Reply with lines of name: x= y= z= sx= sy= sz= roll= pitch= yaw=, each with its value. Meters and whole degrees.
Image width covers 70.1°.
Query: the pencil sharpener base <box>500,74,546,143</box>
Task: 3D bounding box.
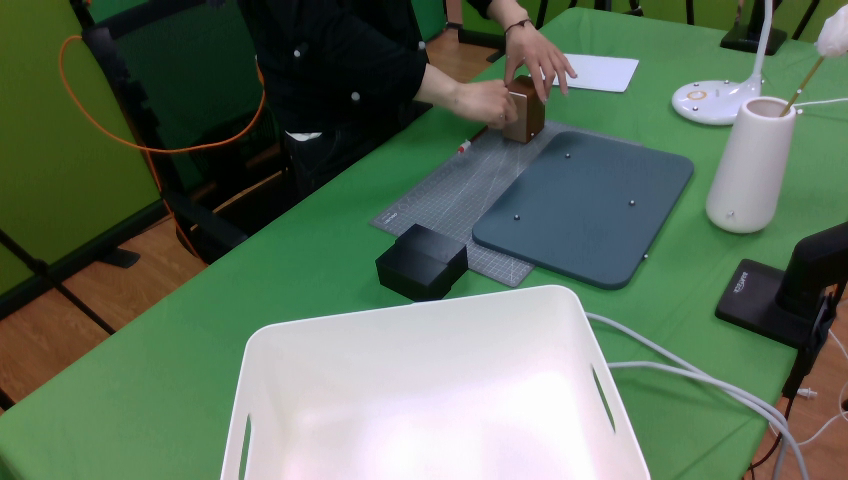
pencil sharpener base: x=0.194 y=-0.256 z=1.174 sx=0.061 sy=0.107 sz=0.077 roll=22 pitch=49 yaw=31

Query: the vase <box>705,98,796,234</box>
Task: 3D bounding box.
vase: x=0.480 y=-0.104 z=0.889 sx=0.098 sy=0.201 sz=0.097 roll=-4 pitch=42 yaw=4

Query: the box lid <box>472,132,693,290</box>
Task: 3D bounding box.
box lid: x=0.273 y=-0.068 z=1.020 sx=0.261 sy=0.015 sz=0.372 roll=20 pitch=47 yaw=28

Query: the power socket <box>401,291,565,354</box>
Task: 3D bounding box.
power socket: x=0.080 y=0.111 z=0.823 sx=0.227 sy=0.033 sz=0.072 roll=-5 pitch=41 yaw=1

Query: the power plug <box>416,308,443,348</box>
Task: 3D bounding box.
power plug: x=0.005 y=0.121 z=0.787 sx=0.035 sy=0.053 sz=0.072 roll=2 pitch=46 yaw=8

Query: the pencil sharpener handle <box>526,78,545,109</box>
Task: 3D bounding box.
pencil sharpener handle: x=0.225 y=-0.294 z=1.193 sx=0.035 sy=0.068 sz=0.031 roll=18 pitch=47 yaw=35

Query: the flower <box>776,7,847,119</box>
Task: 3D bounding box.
flower: x=0.476 y=-0.156 z=0.822 sx=0.038 sy=0.362 sz=0.044 roll=7 pitch=58 yaw=2

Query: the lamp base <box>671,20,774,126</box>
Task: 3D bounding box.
lamp base: x=0.581 y=-0.332 z=1.153 sx=0.179 sy=0.181 sz=0.160 roll=2 pitch=41 yaw=7

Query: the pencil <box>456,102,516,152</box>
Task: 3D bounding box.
pencil: x=0.123 y=-0.213 z=1.100 sx=0.012 sy=0.012 sz=0.194 roll=27 pitch=55 yaw=34

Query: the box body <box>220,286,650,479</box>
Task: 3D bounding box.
box body: x=0.006 y=0.210 z=0.618 sx=0.364 sy=0.161 sz=0.252 roll=-8 pitch=40 yaw=-1
